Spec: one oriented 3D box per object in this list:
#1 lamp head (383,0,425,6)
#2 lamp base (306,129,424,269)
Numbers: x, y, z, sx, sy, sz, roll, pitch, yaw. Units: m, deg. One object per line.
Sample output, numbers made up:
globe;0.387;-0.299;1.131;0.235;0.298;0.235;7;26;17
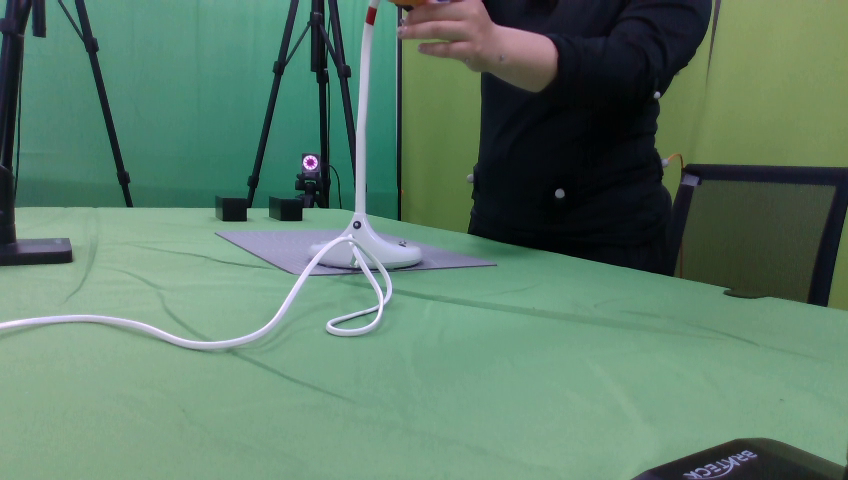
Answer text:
lamp head;-0.025;-0.325;0.671;0.112;0.123;0.112;4;3;0
lamp base;-0.077;-0.057;0.810;0.161;0.180;0.179;2;10;-4
